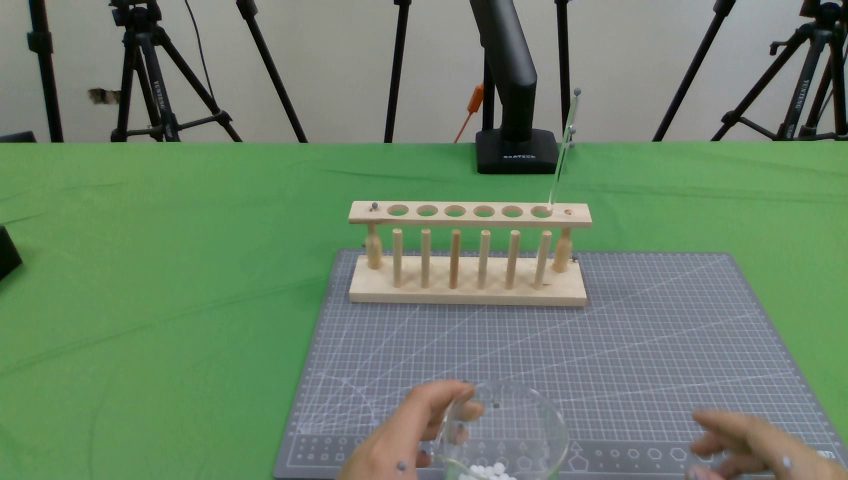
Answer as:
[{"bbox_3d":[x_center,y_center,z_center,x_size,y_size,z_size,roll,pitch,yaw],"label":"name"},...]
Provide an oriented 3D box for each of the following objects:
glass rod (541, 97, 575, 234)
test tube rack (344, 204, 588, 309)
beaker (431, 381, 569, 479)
[{"bbox_3d":[0.125,-0.045,0.593,0.008,0.201,0.008,2,36,-1],"label":"glass rod"},{"bbox_3d":[0.041,0.016,0.624,0.242,0.086,0.066,1,35,3],"label":"test tube rack"},{"bbox_3d":[0.044,0.153,0.385,0.084,0.101,0.073,-11,38,-15],"label":"beaker"}]
